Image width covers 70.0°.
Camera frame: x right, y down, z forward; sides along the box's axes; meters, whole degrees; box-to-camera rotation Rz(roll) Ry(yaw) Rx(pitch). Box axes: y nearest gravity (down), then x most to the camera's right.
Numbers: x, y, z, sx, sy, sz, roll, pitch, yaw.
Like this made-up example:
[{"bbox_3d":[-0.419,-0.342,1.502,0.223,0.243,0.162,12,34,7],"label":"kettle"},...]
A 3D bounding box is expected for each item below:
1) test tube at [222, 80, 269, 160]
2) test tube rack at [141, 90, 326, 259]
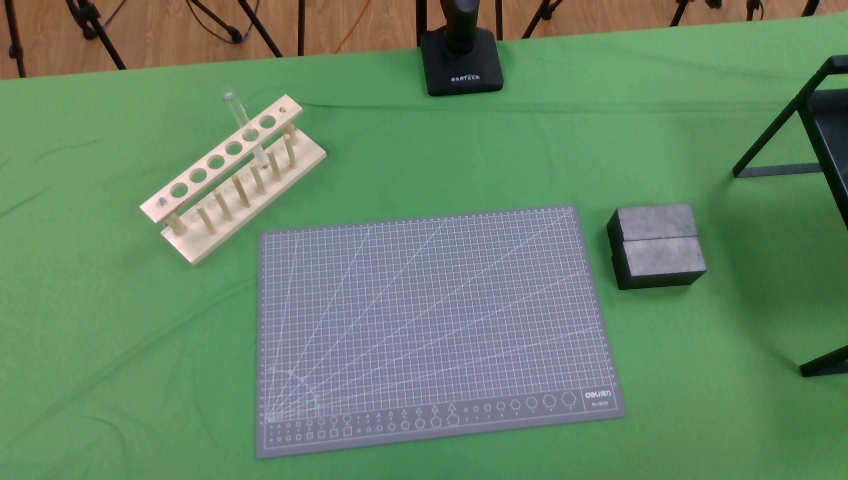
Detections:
[{"bbox_3d":[-0.233,-0.154,0.798,0.017,0.151,0.017,-2,61,3],"label":"test tube"},{"bbox_3d":[-0.249,-0.090,0.824,0.066,0.086,0.242,40,71,16],"label":"test tube rack"}]
